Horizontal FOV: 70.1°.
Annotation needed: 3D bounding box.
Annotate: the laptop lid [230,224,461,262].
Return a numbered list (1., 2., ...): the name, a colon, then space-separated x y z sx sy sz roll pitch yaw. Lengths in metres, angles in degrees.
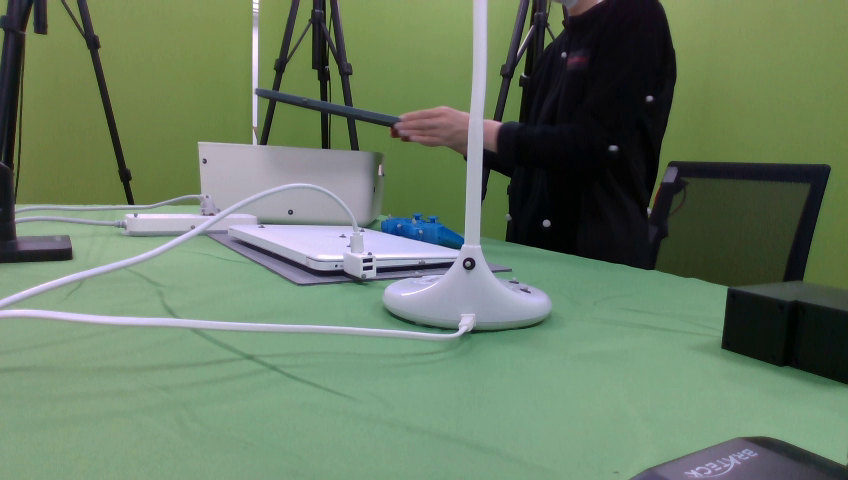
1. laptop lid: -0.120 0.000 0.888 0.243 0.013 0.355 1 7 -33

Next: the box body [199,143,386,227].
1. box body: -0.277 -0.124 1.334 0.364 0.160 0.254 3 7 1

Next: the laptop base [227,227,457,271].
1. laptop base: -0.123 0.011 0.888 0.237 0.023 0.352 2 6 -35

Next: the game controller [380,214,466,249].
1. game controller: -0.007 -0.017 1.039 0.097 0.051 0.154 -4 9 -34

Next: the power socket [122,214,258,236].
1. power socket: -0.399 -0.028 1.049 0.228 0.032 0.072 -3 8 -34

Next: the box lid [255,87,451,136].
1. box lid: -0.144 -0.252 1.215 0.373 0.015 0.262 10 8 -12

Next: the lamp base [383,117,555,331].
1. lamp base: 0.045 -0.019 0.547 0.161 0.180 0.179 2 10 -4

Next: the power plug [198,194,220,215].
1. power plug: -0.387 -0.055 1.089 0.035 0.052 0.072 -1 7 -22

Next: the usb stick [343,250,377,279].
1. usb stick: -0.076 0.026 0.687 0.021 0.027 0.059 -8 8 -31
